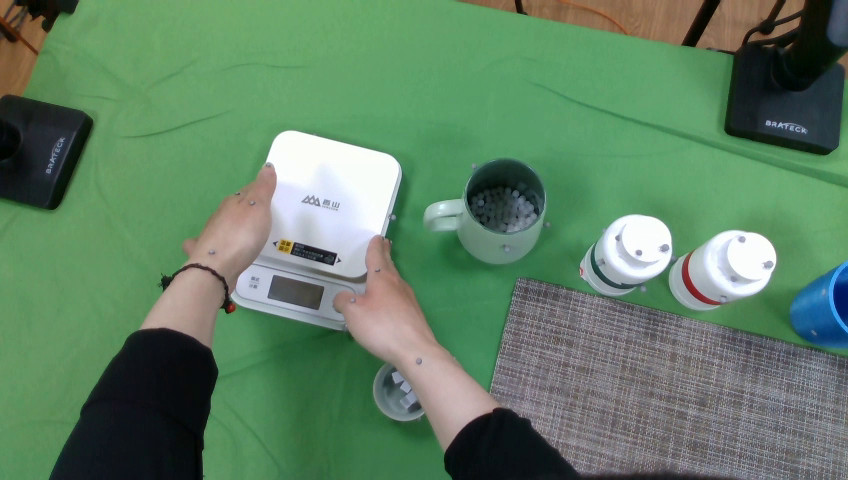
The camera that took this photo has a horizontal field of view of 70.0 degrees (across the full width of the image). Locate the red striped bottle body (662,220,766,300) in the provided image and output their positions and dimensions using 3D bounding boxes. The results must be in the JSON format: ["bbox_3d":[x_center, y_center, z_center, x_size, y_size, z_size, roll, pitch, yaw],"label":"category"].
[{"bbox_3d":[0.284,0.020,0.589,0.063,0.120,0.062,0,76,1],"label":"red striped bottle body"}]

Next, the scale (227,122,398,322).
[{"bbox_3d":[-0.120,-0.022,0.655,0.148,0.032,0.200,14,78,5],"label":"scale"}]

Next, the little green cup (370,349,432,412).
[{"bbox_3d":[-0.022,0.141,0.609,0.061,0.039,0.061,0,77,2],"label":"little green cup"}]

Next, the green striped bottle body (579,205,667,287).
[{"bbox_3d":[0.195,0.006,0.595,0.063,0.120,0.063,0,75,2],"label":"green striped bottle body"}]

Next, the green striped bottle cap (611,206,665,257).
[{"bbox_3d":[0.192,-0.008,0.544,0.044,0.020,0.044,0,77,1],"label":"green striped bottle cap"}]

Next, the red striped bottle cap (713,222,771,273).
[{"bbox_3d":[0.283,0.007,0.538,0.044,0.018,0.044,-1,78,3],"label":"red striped bottle cap"}]

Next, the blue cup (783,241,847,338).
[{"bbox_3d":[0.403,0.056,0.586,0.092,0.101,0.092,-1,76,3],"label":"blue cup"}]

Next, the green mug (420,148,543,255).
[{"bbox_3d":[0.058,-0.035,0.616,0.125,0.105,0.092,-7,76,0],"label":"green mug"}]
